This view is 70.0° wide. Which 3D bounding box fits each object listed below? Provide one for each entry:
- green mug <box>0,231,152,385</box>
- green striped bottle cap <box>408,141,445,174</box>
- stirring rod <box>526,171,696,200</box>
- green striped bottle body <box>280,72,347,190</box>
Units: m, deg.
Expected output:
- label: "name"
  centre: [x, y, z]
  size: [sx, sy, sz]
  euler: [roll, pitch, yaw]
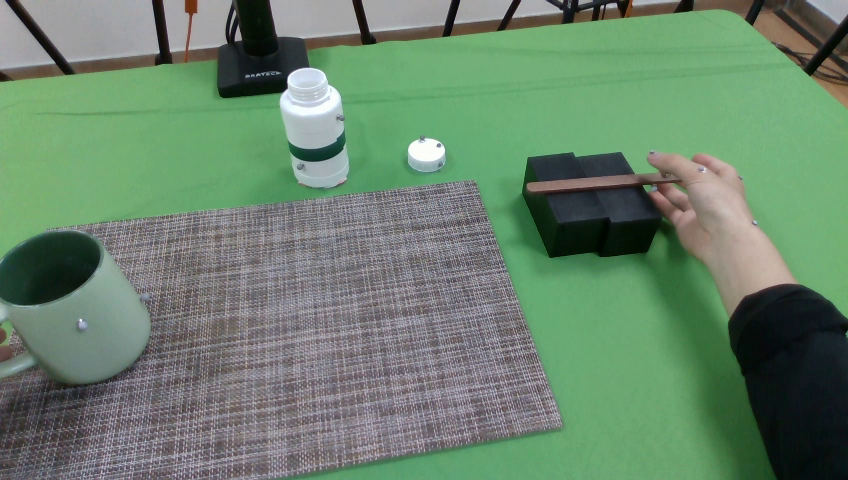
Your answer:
- label: "green mug"
  centre: [-0.291, 0.065, 0.478]
  size: [0.125, 0.106, 0.091]
  euler: [-34, 56, -28]
- label: "green striped bottle cap"
  centre: [0.003, -0.095, 0.701]
  size: [0.044, 0.020, 0.044]
  euler: [0, 43, 0]
- label: "stirring rod"
  centre: [0.188, -0.055, 0.606]
  size: [0.176, 0.006, 0.014]
  euler: [-7, 52, -6]
- label: "green striped bottle body"
  centre: [-0.118, -0.117, 0.648]
  size: [0.063, 0.120, 0.062]
  euler: [1, 47, 0]
